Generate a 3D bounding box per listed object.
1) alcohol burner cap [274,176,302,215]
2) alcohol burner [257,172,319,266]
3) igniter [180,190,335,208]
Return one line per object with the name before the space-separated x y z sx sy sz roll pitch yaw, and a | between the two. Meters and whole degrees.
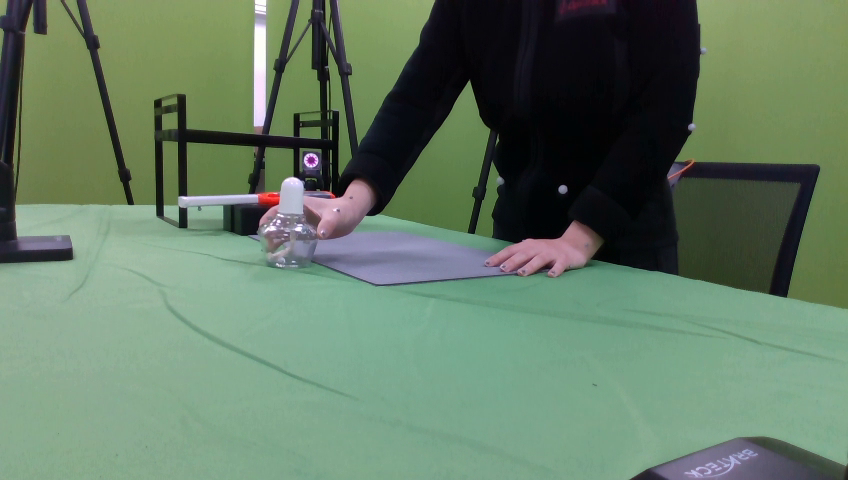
alcohol burner cap | -0.170 -0.057 0.764 0.034 0.048 0.034 7 6 0
alcohol burner | -0.171 -0.026 0.766 0.078 0.119 0.078 5 7 0
igniter | -0.294 -0.075 1.103 0.278 0.025 0.057 -5 12 -32
